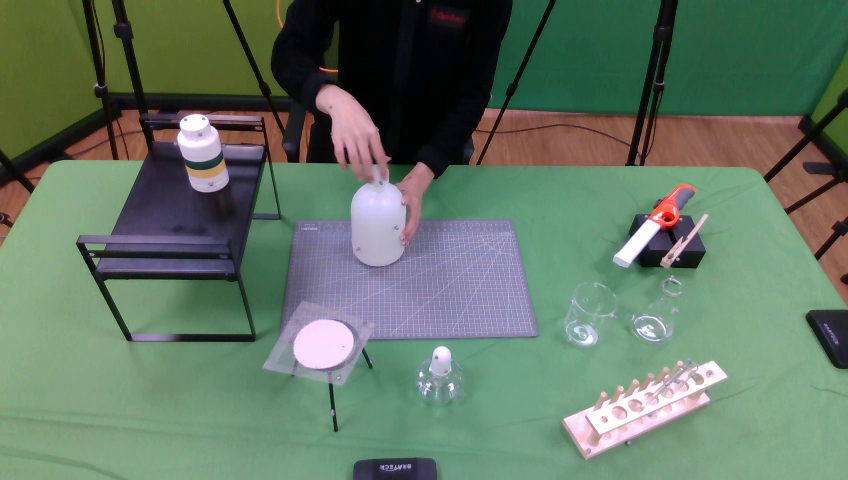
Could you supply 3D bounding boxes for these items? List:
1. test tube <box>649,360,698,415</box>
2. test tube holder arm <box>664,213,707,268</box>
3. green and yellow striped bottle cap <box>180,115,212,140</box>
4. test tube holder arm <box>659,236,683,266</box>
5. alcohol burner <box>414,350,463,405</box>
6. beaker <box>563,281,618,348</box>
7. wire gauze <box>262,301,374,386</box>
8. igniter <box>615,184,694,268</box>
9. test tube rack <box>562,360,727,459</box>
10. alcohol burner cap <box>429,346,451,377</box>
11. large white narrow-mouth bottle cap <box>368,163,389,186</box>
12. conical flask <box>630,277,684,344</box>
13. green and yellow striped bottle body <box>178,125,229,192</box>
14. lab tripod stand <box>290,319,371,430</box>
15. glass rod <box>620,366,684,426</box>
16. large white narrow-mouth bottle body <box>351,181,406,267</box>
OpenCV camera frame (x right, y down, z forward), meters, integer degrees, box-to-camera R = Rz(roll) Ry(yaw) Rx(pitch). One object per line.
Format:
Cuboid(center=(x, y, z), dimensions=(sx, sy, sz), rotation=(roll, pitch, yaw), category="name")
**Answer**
Cuboid(center=(0.365, 0.222, 0.898), dimensions=(0.017, 0.151, 0.017), rotation=(4, 49, -5), category="test tube")
Cuboid(center=(0.507, -0.001, 1.171), dimensions=(0.013, 0.015, 0.178), rotation=(33, 53, 26), category="test tube holder arm")
Cuboid(center=(-0.358, -0.177, 0.951), dimensions=(0.045, 0.020, 0.045), rotation=(2, 45, -2), category="green and yellow striped bottle cap")
Cuboid(center=(0.472, 0.020, 1.149), dimensions=(0.010, 0.015, 0.088), rotation=(35, 54, 27), category="test tube holder arm")
Cuboid(center=(0.023, 0.205, 0.939), dimensions=(0.078, 0.120, 0.077), rotation=(1, 47, -1), category="alcohol burner")
Cuboid(center=(0.283, 0.129, 1.041), dimensions=(0.074, 0.101, 0.083), rotation=(11, 46, 6), category="beaker")
Cuboid(center=(-0.150, 0.148, 0.873), dimensions=(0.121, 0.011, 0.124), rotation=(14, 46, 12), category="wire gauze")
Cuboid(center=(0.459, -0.035, 1.197), dimensions=(0.057, 0.025, 0.276), rotation=(32, 55, 27), category="igniter")
Cuboid(center=(0.341, 0.247, 0.940), dimensions=(0.243, 0.085, 0.066), rotation=(-16, 49, -18), category="test tube rack")
Cuboid(center=(0.026, 0.180, 0.912), dimensions=(0.034, 0.048, 0.033), rotation=(1, 47, -1), category="alcohol burner cap")
Cuboid(center=(-0.078, -0.113, 1.050), dimensions=(0.038, 0.024, 0.037), rotation=(3, 44, -2), category="large white narrow-mouth bottle cap")
Cuboid(center=(0.409, 0.117, 1.045), dimensions=(0.075, 0.122, 0.075), rotation=(2, 46, -2), category="conical flask")
Cuboid(center=(-0.361, -0.142, 0.989), dimensions=(0.063, 0.120, 0.063), rotation=(2, 46, -2), category="green and yellow striped bottle body")
Cuboid(center=(-0.146, 0.194, 0.923), dimensions=(0.148, 0.132, 0.147), rotation=(1, 47, -1), category="lab tripod stand")
Cuboid(center=(0.323, 0.227, 0.866), dimensions=(0.008, 0.200, 0.008), rotation=(5, 51, -7), category="glass rod")
Cuboid(center=(-0.084, -0.046, 1.114), dimensions=(0.102, 0.195, 0.101), rotation=(2, 44, -2), category="large white narrow-mouth bottle body")
